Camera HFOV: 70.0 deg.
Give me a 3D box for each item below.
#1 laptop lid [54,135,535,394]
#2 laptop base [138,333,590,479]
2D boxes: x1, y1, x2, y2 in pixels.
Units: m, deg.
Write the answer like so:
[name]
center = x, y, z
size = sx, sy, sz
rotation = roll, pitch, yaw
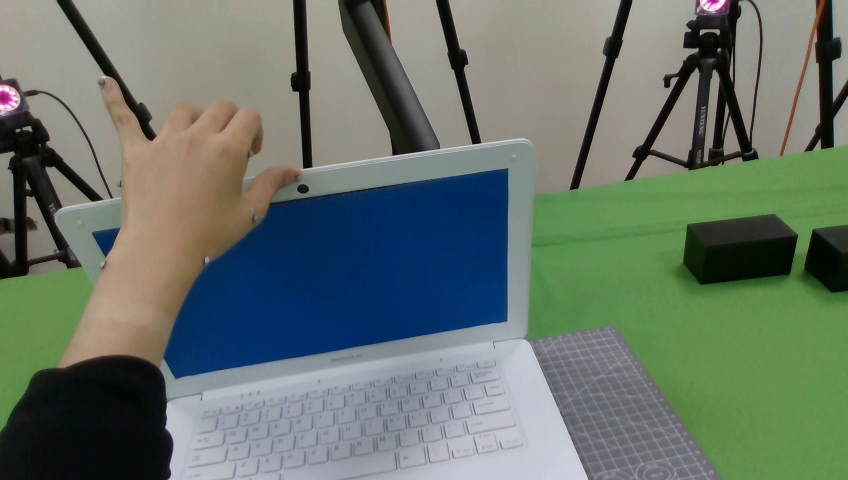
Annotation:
[laptop lid]
center = -0.082, 0.035, 0.514
size = 0.357, 0.244, 0.013
rotation = -10, 42, -3
[laptop base]
center = -0.056, 0.183, 0.492
size = 0.355, 0.023, 0.233
rotation = -9, 33, -3
